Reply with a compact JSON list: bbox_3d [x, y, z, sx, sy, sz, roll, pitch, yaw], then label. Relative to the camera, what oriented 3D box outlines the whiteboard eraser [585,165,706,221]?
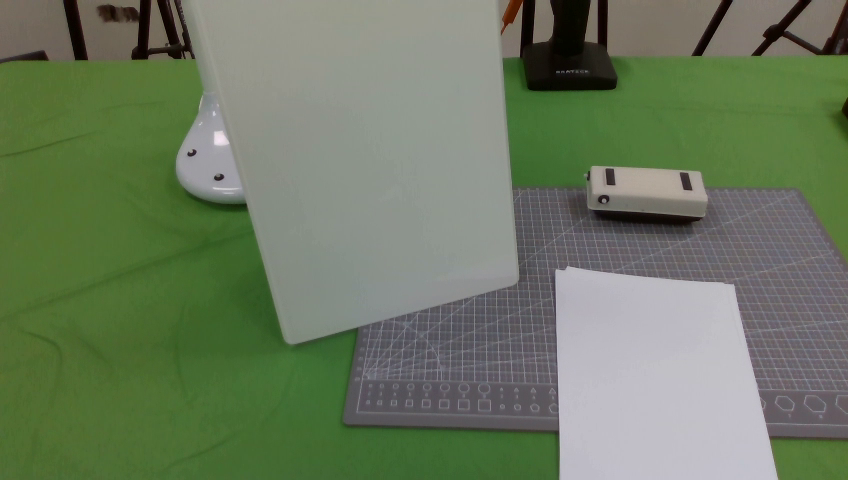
[{"bbox_3d":[0.224,-0.047,0.619,0.112,0.042,0.055,5,44,8],"label":"whiteboard eraser"}]

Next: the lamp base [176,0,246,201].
[{"bbox_3d":[-0.216,-0.160,0.658,0.177,0.182,0.160,31,52,34],"label":"lamp base"}]

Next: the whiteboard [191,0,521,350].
[{"bbox_3d":[-0.052,-0.094,0.531,0.217,0.307,0.142,-14,24,-11],"label":"whiteboard"}]
